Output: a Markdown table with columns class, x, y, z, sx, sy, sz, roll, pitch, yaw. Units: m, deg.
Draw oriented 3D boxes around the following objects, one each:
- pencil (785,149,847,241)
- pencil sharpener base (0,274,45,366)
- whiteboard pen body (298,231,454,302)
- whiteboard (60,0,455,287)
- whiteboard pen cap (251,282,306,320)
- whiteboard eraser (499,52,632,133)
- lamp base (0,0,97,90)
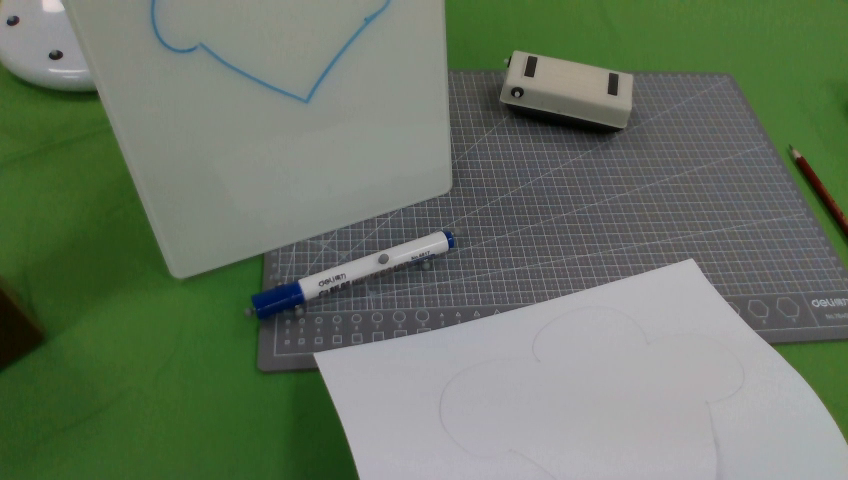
| class | x | y | z | sx | sy | sz | roll | pitch | yaw |
| --- | --- | --- | --- | --- | --- | --- | --- | --- | --- |
| pencil | 0.353 | -0.009 | 0.506 | 0.012 | 0.012 | 0.192 | -4 | 53 | -10 |
| pencil sharpener base | -0.277 | 0.034 | 0.332 | 0.061 | 0.108 | 0.076 | 38 | 59 | 19 |
| whiteboard pen body | -0.043 | 0.021 | 0.420 | 0.141 | 0.017 | 0.017 | -19 | 58 | -19 |
| whiteboard | -0.111 | -0.159 | 0.407 | 0.217 | 0.308 | 0.142 | -19 | 39 | -19 |
| whiteboard pen cap | -0.096 | 0.040 | 0.401 | 0.033 | 0.018 | 0.018 | -20 | 59 | -19 |
| whiteboard eraser | 0.126 | -0.130 | 0.540 | 0.112 | 0.042 | 0.055 | 14 | 54 | 3 |
| lamp base | -0.299 | -0.242 | 0.484 | 0.178 | 0.182 | 0.160 | 31 | 56 | 18 |
